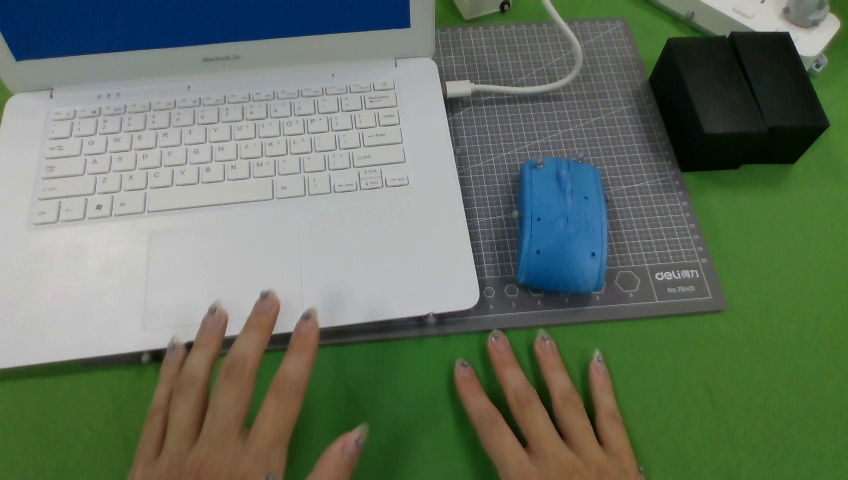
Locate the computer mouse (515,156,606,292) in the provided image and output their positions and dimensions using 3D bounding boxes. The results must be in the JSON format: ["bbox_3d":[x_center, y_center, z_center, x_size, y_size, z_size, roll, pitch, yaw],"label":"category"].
[{"bbox_3d":[0.100,-0.017,0.446,0.063,0.041,0.116,6,57,4],"label":"computer mouse"}]

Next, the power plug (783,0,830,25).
[{"bbox_3d":[0.353,-0.216,0.542,0.072,0.053,0.035,-35,66,-16],"label":"power plug"}]

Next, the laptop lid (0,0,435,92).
[{"bbox_3d":[-0.168,-0.216,0.427,0.357,0.244,0.013,-7,49,-4],"label":"laptop lid"}]

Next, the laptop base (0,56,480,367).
[{"bbox_3d":[-0.149,-0.034,0.462,0.355,0.023,0.233,-7,66,-5],"label":"laptop base"}]

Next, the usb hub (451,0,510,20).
[{"bbox_3d":[0.035,-0.269,0.590,0.049,0.025,0.124,-20,64,-12],"label":"usb hub"}]

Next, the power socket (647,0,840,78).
[{"bbox_3d":[0.279,-0.230,0.573,0.225,0.033,0.072,39,66,18],"label":"power socket"}]
